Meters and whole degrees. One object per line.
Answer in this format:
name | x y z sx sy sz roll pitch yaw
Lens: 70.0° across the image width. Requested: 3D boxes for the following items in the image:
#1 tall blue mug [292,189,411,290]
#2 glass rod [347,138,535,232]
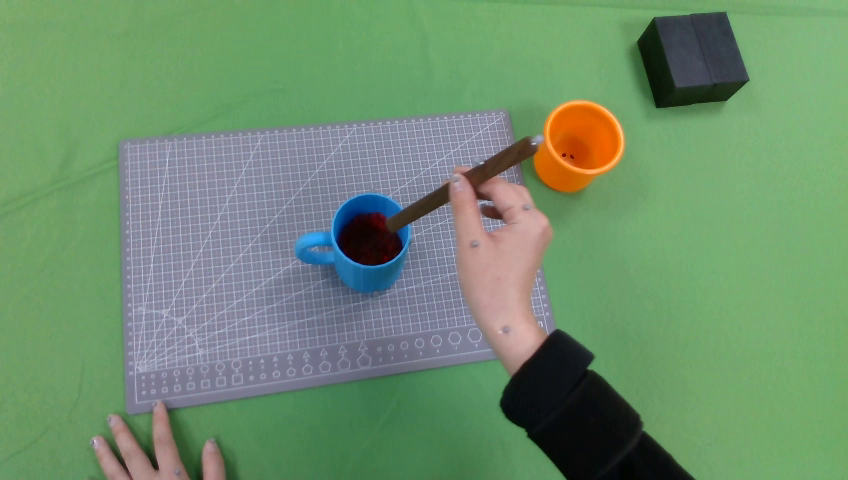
tall blue mug | -0.070 0.010 0.615 0.107 0.108 0.077 -30 80 -15
glass rod | 0.003 -0.038 0.470 0.008 0.199 0.008 21 58 -40
